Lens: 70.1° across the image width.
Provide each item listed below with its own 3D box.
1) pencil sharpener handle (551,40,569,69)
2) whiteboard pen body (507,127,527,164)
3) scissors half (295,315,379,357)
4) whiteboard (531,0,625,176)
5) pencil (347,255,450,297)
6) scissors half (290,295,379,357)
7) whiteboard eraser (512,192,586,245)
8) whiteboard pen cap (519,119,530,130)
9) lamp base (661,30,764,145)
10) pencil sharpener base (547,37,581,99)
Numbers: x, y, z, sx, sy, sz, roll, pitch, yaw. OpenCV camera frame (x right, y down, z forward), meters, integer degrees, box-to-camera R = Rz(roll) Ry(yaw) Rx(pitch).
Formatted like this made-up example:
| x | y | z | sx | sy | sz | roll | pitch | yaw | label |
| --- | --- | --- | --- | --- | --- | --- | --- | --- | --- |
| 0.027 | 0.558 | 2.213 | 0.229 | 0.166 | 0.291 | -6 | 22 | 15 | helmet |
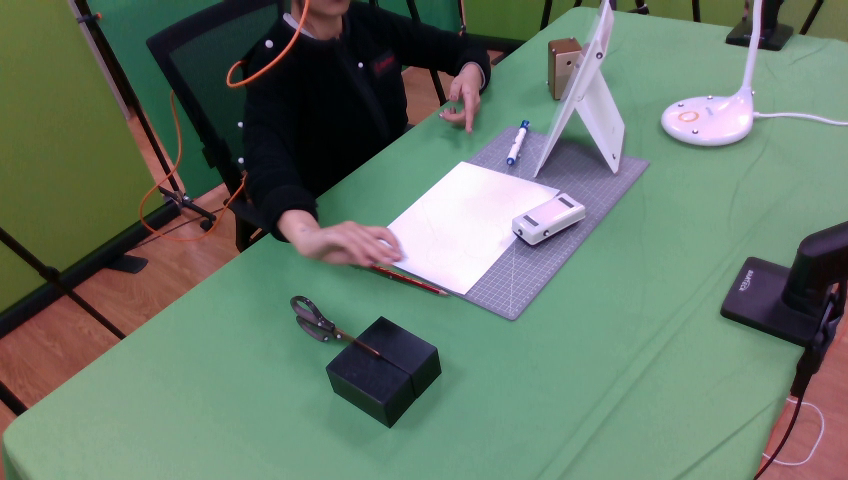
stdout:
| x | y | z | sx | sy | sz | roll | pitch | yaw | label |
| --- | --- | --- | --- | --- | --- | --- | --- | --- | --- |
| 0.291 | -0.409 | 1.320 | 0.036 | 0.068 | 0.030 | 2 | 40 | -6 | pencil sharpener handle |
| 0.181 | -0.189 | 1.162 | 0.017 | 0.017 | 0.140 | 8 | 42 | 19 | whiteboard pen body |
| -0.119 | 0.132 | 0.813 | 0.173 | 0.040 | 0.013 | 9 | 33 | 45 | scissors half |
| 0.320 | -0.258 | 1.050 | 0.144 | 0.306 | 0.217 | 22 | 45 | 5 | whiteboard |
| -0.043 | 0.056 | 0.935 | 0.192 | 0.012 | 0.012 | 19 | 48 | 27 | pencil |
| -0.122 | 0.114 | 0.803 | 0.174 | 0.040 | 0.013 | 26 | 48 | 33 | scissors half |
| 0.199 | -0.032 | 0.962 | 0.113 | 0.042 | 0.055 | -27 | 42 | -20 | whiteboard eraser |
| 0.200 | -0.226 | 1.204 | 0.018 | 0.018 | 0.033 | 7 | 41 | 18 | whiteboard pen cap |
| 0.535 | -0.287 | 1.096 | 0.179 | 0.181 | 0.159 | -10 | 40 | -4 | lamp base |
| 0.299 | -0.368 | 1.290 | 0.061 | 0.107 | 0.076 | -8 | 40 | 2 | pencil sharpener base |
